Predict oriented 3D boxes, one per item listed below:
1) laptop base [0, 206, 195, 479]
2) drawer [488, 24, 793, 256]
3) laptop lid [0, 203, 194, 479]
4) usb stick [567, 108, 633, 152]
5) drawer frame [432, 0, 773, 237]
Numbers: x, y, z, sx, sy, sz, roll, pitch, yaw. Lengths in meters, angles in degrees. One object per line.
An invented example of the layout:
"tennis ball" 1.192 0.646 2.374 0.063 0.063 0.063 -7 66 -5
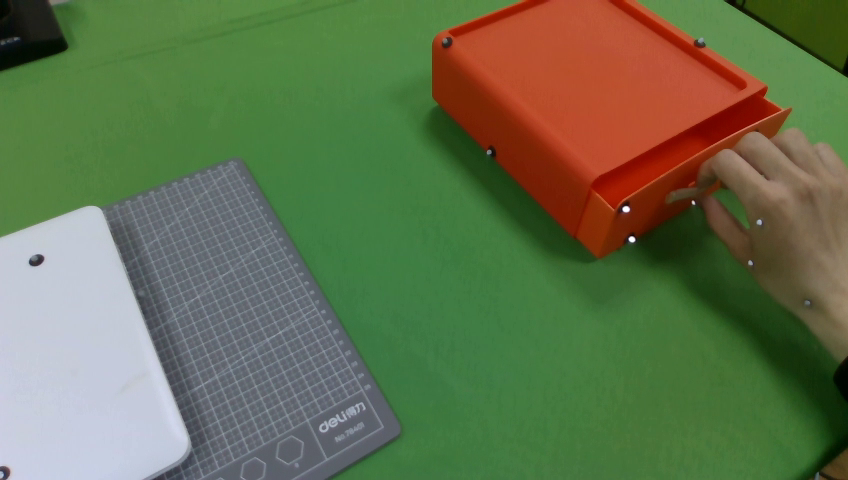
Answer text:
"laptop base" -0.349 0.125 0.383 0.355 0.023 0.233 -26 61 -19
"drawer" 0.162 -0.112 0.530 0.194 0.074 0.209 -28 57 -19
"laptop lid" -0.348 0.120 0.372 0.357 0.013 0.239 -24 59 -18
"usb stick" 0.161 -0.100 0.543 0.059 0.027 0.021 -13 54 -10
"drawer frame" 0.147 -0.131 0.542 0.202 0.083 0.211 -29 57 -20
